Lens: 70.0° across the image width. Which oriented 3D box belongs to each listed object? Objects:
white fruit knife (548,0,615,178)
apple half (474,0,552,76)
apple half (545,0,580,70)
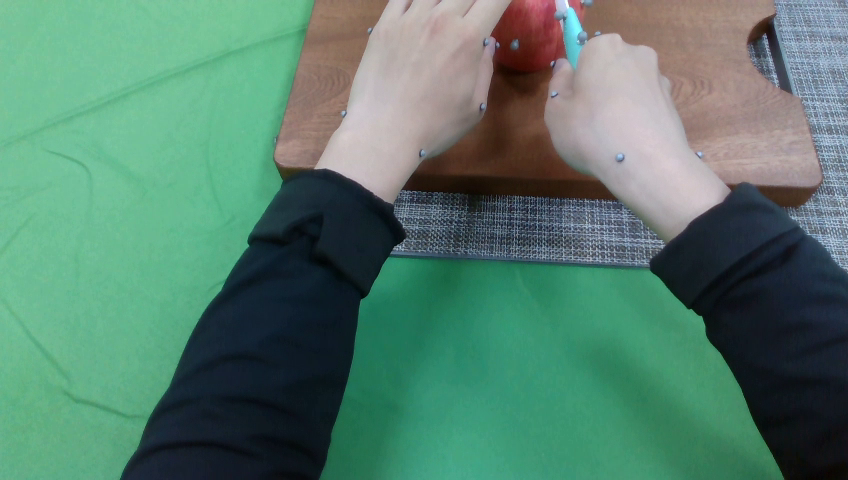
[{"bbox_3d":[0.095,-0.141,0.414,0.016,0.027,0.206,-11,73,-3],"label":"white fruit knife"},{"bbox_3d":[0.066,-0.169,0.474,0.053,0.075,0.080,-11,64,1],"label":"apple half"},{"bbox_3d":[0.104,-0.176,0.474,0.033,0.082,0.080,-11,59,2],"label":"apple half"}]
